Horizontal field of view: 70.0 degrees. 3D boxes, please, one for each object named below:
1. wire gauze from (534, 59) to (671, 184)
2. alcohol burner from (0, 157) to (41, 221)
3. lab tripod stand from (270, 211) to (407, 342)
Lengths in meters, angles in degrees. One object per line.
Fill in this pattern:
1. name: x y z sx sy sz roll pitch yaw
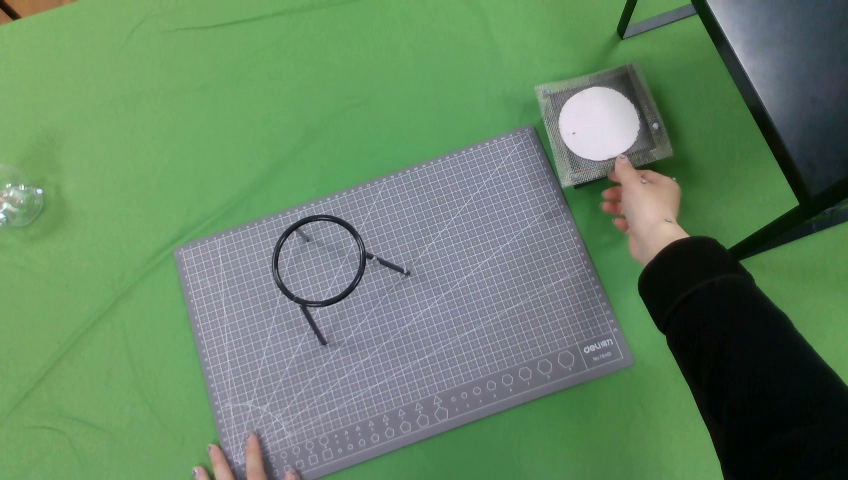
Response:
1. wire gauze: 0.193 -0.133 0.663 0.121 0.011 0.124 -13 76 2
2. alcohol burner: -0.498 -0.063 0.687 0.078 0.119 0.077 -1 77 3
3. lab tripod stand: -0.099 0.029 0.626 0.148 0.132 0.147 -1 76 6
